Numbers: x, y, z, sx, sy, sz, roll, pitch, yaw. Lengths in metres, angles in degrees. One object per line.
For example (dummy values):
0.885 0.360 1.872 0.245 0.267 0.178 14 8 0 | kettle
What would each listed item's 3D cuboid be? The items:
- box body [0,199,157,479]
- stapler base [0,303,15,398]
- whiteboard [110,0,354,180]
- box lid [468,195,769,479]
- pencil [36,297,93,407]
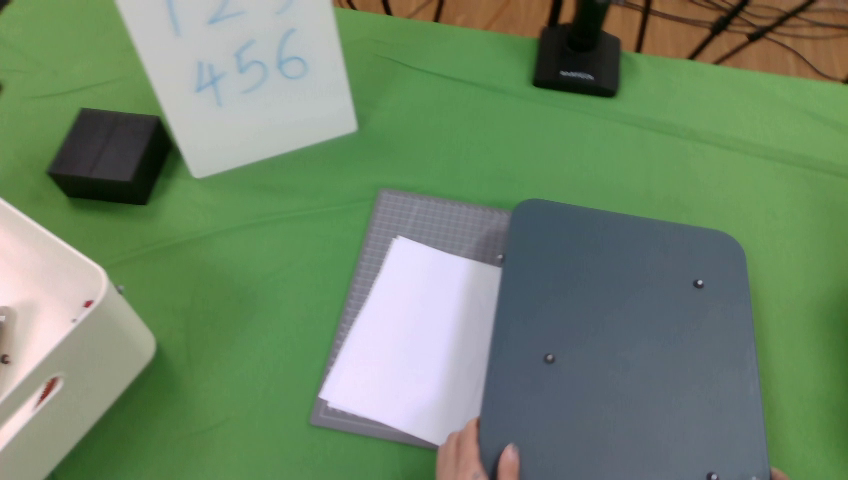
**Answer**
-0.479 0.078 0.571 0.362 0.161 0.253 29 64 14 | box body
-0.454 0.122 0.620 0.041 0.024 0.129 -9 63 -4 | stapler base
-0.233 -0.263 0.725 0.217 0.308 0.142 -20 44 -12 | whiteboard
0.196 0.114 0.599 0.263 0.015 0.368 11 56 4 | box lid
-0.380 0.146 0.617 0.012 0.012 0.192 7 61 3 | pencil
